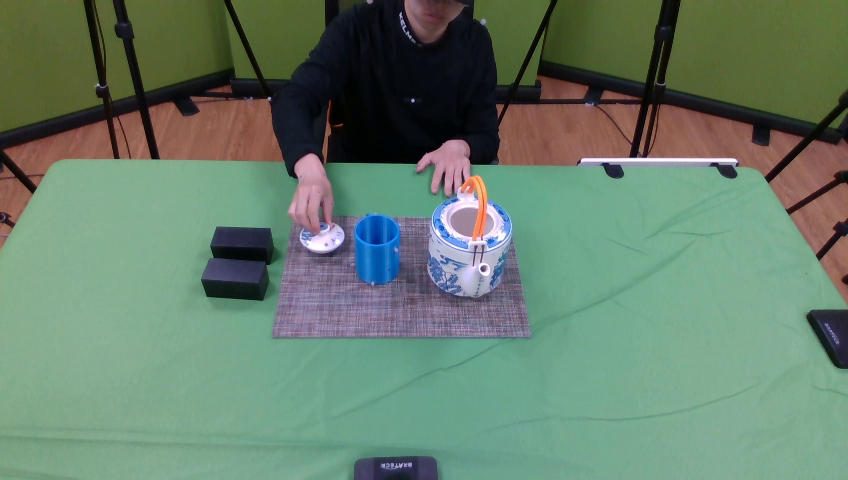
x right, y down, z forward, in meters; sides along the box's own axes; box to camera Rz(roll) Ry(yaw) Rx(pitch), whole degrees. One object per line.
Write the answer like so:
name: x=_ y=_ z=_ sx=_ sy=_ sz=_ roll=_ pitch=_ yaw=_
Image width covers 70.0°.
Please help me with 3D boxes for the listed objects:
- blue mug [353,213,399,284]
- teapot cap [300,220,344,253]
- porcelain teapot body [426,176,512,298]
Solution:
blue mug: x=-0.093 y=0.006 z=1.123 sx=0.082 sy=0.106 sz=0.115 roll=-12 pitch=48 yaw=-15
teapot cap: x=-0.196 y=-0.012 z=1.164 sx=0.085 sy=0.044 sz=0.084 roll=-1 pitch=46 yaw=1
porcelain teapot body: x=0.085 y=0.009 z=1.051 sx=0.145 sy=0.226 sz=0.204 roll=-5 pitch=47 yaw=-9
